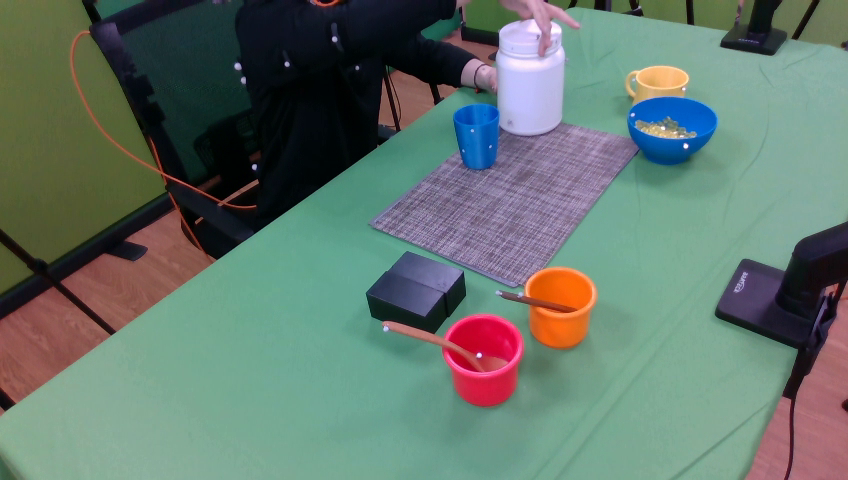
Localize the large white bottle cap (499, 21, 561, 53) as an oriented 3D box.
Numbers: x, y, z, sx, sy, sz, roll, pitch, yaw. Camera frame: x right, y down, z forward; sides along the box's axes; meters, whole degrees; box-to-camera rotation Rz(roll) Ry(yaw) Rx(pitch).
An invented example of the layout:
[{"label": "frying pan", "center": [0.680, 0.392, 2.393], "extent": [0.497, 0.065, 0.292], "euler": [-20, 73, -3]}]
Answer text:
[{"label": "large white bottle cap", "center": [0.196, -0.378, 1.123], "extent": [0.115, 0.018, 0.114], "euler": [-4, 40, 4]}]

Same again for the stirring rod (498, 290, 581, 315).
[{"label": "stirring rod", "center": [0.151, 0.081, 0.771], "extent": [0.178, 0.006, 0.014], "euler": [16, 19, -44]}]

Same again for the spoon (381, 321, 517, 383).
[{"label": "spoon", "center": [0.033, 0.131, 0.725], "extent": [0.195, 0.021, 0.041], "euler": [29, 29, -26]}]

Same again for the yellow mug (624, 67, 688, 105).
[{"label": "yellow mug", "center": [0.465, -0.305, 1.230], "extent": [0.100, 0.064, 0.129], "euler": [-34, 46, -27]}]

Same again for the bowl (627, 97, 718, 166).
[{"label": "bowl", "center": [0.439, -0.187, 1.087], "extent": [0.151, 0.077, 0.150], "euler": [-4, 41, 4]}]

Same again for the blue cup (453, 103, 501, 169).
[{"label": "blue cup", "center": [0.099, -0.188, 1.114], "extent": [0.092, 0.100, 0.092], "euler": [-4, 39, 3]}]

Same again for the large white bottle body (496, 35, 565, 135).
[{"label": "large white bottle body", "center": [0.207, -0.314, 1.181], "extent": [0.130, 0.185, 0.130], "euler": [-5, 41, 4]}]
